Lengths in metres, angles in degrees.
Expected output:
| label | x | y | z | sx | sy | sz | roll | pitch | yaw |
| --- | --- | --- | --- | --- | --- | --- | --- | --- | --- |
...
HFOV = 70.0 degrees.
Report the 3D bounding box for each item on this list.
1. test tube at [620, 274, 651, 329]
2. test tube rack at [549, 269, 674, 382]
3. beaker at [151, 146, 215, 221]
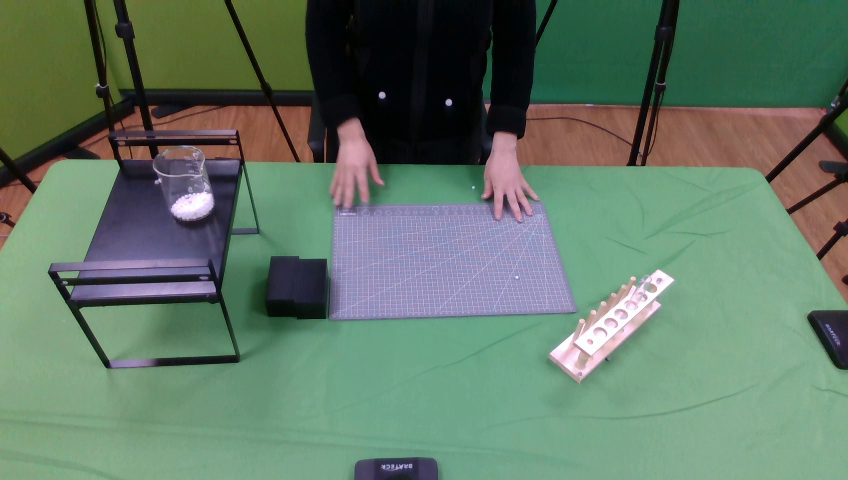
| label | x | y | z | sx | sy | sz | roll | pitch | yaw |
| --- | --- | --- | --- | --- | --- | --- | --- | --- | --- |
| test tube | 0.348 | 0.105 | 1.008 | 0.017 | 0.151 | 0.017 | 1 | 51 | -1 |
| test tube rack | 0.325 | 0.134 | 1.047 | 0.242 | 0.085 | 0.066 | -32 | 56 | -30 |
| beaker | -0.370 | -0.084 | 0.949 | 0.083 | 0.101 | 0.074 | 27 | 50 | 19 |
